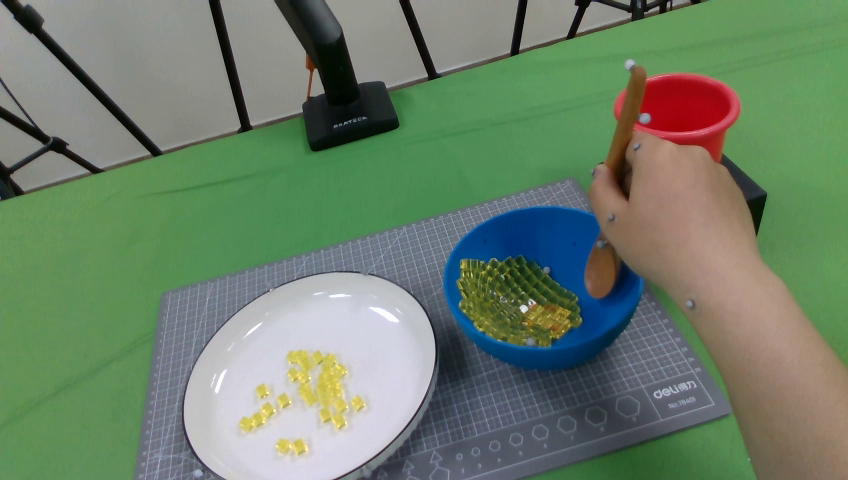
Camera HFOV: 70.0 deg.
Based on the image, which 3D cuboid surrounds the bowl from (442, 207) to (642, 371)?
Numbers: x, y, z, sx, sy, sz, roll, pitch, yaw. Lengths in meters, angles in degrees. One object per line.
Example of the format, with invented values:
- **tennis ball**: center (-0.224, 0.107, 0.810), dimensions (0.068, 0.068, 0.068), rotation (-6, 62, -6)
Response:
- **bowl**: center (0.094, 0.051, 0.484), dimensions (0.151, 0.077, 0.150), rotation (-7, 43, 7)

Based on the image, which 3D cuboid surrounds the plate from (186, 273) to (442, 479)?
- **plate**: center (-0.086, 0.114, 0.496), dimensions (0.207, 0.039, 0.205), rotation (-8, 43, 7)

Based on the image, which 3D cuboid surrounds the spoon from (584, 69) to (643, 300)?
- **spoon**: center (0.127, -0.027, 0.413), dimensions (0.021, 0.196, 0.041), rotation (-11, 46, 0)
